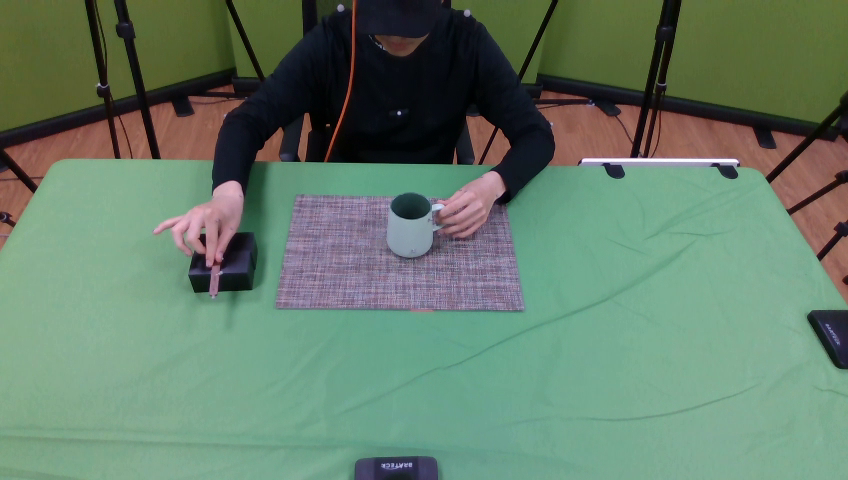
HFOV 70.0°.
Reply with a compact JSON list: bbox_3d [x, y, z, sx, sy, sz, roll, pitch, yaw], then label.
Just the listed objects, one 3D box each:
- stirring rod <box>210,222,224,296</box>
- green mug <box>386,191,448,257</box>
[{"bbox_3d":[-0.370,0.030,1.082,0.014,0.006,0.175,-3,47,-10],"label":"stirring rod"},{"bbox_3d":[-0.012,-0.034,1.165,0.125,0.105,0.092,-17,49,-19],"label":"green mug"}]
